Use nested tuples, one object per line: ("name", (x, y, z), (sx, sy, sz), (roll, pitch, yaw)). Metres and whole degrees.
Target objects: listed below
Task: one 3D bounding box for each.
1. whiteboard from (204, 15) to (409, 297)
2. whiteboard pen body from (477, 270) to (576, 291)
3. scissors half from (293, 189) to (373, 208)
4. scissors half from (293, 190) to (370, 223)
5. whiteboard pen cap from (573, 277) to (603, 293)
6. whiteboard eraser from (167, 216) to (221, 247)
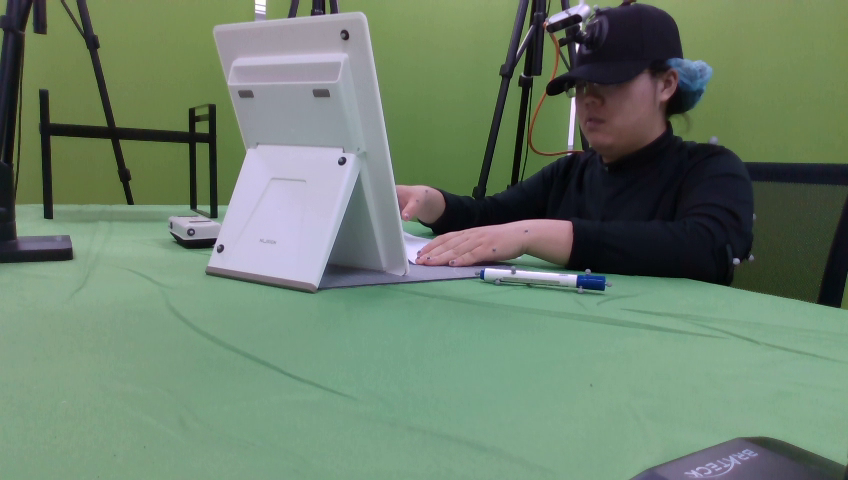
("whiteboard", (-0.166, -0.072, 0.669), (0.216, 0.305, 0.144), (8, 30, 30))
("whiteboard pen body", (0.131, 0.048, 0.706), (0.140, 0.017, 0.017), (4, 8, 18))
("scissors half", (-0.201, -0.096, 1.333), (0.175, 0.040, 0.013), (4, 17, -4))
("scissors half", (-0.205, -0.077, 1.338), (0.175, 0.040, 0.013), (21, 10, -8))
("whiteboard pen cap", (0.186, 0.051, 0.687), (0.033, 0.018, 0.018), (4, 8, 17))
("whiteboard eraser", (-0.350, -0.013, 0.920), (0.056, 0.042, 0.112), (0, 7, -35))
